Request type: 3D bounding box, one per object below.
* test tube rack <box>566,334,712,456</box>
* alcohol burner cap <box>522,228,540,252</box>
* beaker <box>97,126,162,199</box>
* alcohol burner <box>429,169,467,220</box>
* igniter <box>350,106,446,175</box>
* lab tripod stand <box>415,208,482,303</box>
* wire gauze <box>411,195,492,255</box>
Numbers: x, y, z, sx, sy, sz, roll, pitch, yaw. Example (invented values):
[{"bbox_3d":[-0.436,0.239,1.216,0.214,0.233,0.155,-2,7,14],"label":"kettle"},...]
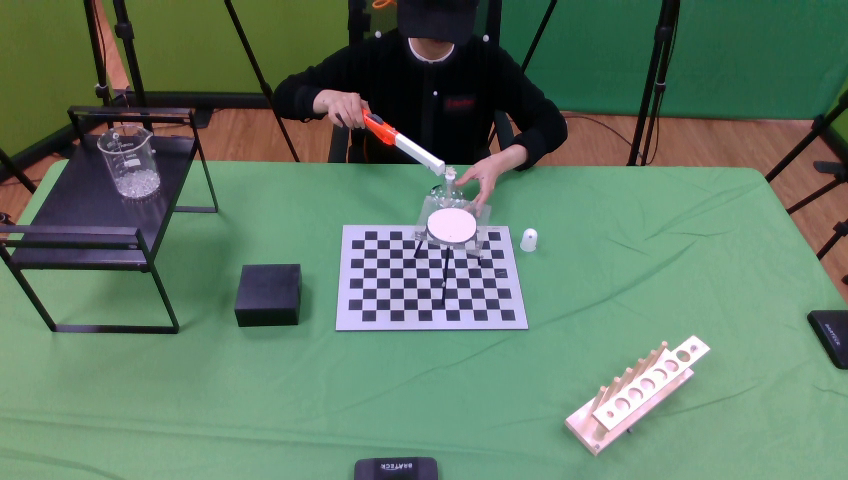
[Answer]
[{"bbox_3d":[0.338,0.228,0.950,0.242,0.085,0.066,-26,52,-26],"label":"test tube rack"},{"bbox_3d":[0.214,-0.003,1.198,0.034,0.048,0.033,1,46,-1],"label":"alcohol burner cap"},{"bbox_3d":[-0.468,-0.124,0.979,0.084,0.101,0.073,-25,53,-26],"label":"beaker"},{"bbox_3d":[0.050,-0.098,1.230,0.078,0.119,0.077,3,46,-3],"label":"alcohol burner"},{"bbox_3d":[-0.061,-0.213,1.262,0.275,0.057,0.025,36,61,28],"label":"igniter"},{"bbox_3d":[0.043,0.018,1.097,0.148,0.132,0.147,0,46,0],"label":"lab tripod stand"},{"bbox_3d":[0.049,-0.031,1.051,0.125,0.011,0.121,12,47,9],"label":"wire gauze"}]
